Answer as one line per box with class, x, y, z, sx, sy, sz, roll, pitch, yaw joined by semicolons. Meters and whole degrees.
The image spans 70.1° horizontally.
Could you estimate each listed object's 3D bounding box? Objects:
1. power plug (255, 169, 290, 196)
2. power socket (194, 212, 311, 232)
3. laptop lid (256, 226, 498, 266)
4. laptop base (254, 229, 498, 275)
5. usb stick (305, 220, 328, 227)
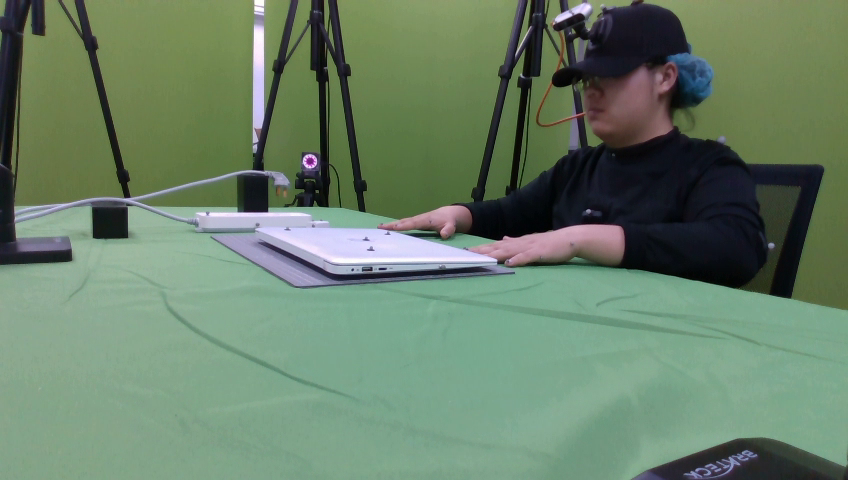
power plug;-0.323;-0.120;1.285;0.073;0.052;0.035;2;-13;-13
power socket;-0.322;-0.037;1.153;0.228;0.032;0.072;-2;8;-34
laptop lid;-0.085;0.004;0.878;0.243;0.013;0.355;1;7;-29
laptop base;-0.088;0.016;0.878;0.237;0.023;0.352;2;6;-31
usb stick;-0.194;-0.020;1.075;0.021;0.027;0.059;4;10;22
